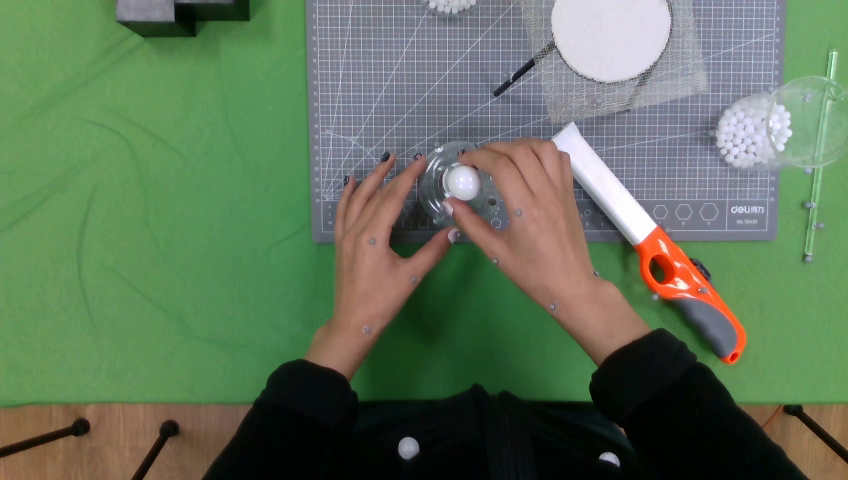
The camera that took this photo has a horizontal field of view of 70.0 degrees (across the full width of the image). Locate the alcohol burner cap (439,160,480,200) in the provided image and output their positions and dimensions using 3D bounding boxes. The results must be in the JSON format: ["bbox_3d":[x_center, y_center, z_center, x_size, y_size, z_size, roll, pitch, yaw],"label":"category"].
[{"bbox_3d":[0.030,-0.049,0.487,0.034,0.048,0.034,0,95,-4],"label":"alcohol burner cap"}]

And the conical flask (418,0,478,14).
[{"bbox_3d":[0.022,-0.242,0.503,0.075,0.121,0.075,0,94,-1],"label":"conical flask"}]

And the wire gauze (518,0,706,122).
[{"bbox_3d":[0.135,-0.157,0.440,0.125,0.011,0.121,-13,95,0],"label":"wire gauze"}]

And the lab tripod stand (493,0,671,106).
[{"bbox_3d":[0.133,-0.164,0.507,0.148,0.131,0.148,0,96,0],"label":"lab tripod stand"}]

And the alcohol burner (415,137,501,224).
[{"bbox_3d":[0.030,-0.052,0.524,0.078,0.119,0.078,0,93,1],"label":"alcohol burner"}]

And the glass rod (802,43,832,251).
[{"bbox_3d":[0.379,-0.088,0.584,0.008,0.008,0.200,3,95,-2],"label":"glass rod"}]

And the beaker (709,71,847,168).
[{"bbox_3d":[0.308,-0.103,0.533,0.084,0.100,0.074,-37,94,1],"label":"beaker"}]

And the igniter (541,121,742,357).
[{"bbox_3d":[0.212,0.002,0.577,0.057,0.025,0.277,-43,95,-14],"label":"igniter"}]
